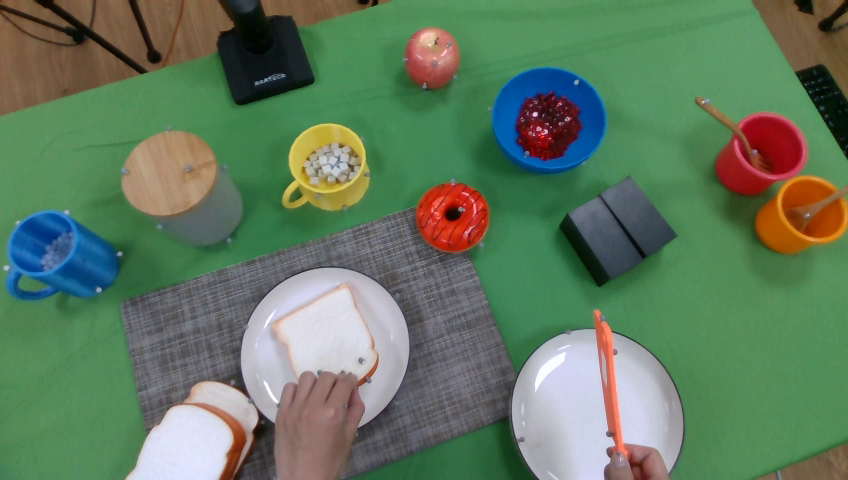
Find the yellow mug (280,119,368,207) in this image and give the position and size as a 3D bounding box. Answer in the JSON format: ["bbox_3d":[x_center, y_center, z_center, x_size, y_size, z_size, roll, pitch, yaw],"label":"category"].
[{"bbox_3d":[-0.139,-0.093,0.810,0.131,0.064,0.099,-42,78,-11],"label":"yellow mug"}]

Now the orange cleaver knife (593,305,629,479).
[{"bbox_3d":[0.191,0.172,0.617,0.012,0.077,0.211,-7,89,6],"label":"orange cleaver knife"}]

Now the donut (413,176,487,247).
[{"bbox_3d":[0.035,-0.038,0.802,0.099,0.048,0.098,0,73,-1],"label":"donut"}]

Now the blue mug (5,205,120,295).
[{"bbox_3d":[-0.455,0.025,0.749,0.082,0.106,0.116,43,77,12],"label":"blue mug"}]

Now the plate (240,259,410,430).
[{"bbox_3d":[-0.120,0.128,0.753,0.208,0.039,0.206,0,73,-1],"label":"plate"}]

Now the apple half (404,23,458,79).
[{"bbox_3d":[0.017,-0.272,0.863,0.080,0.075,0.053,35,70,14],"label":"apple half"}]

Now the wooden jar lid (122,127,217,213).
[{"bbox_3d":[-0.294,-0.080,0.707,0.108,0.021,0.107,0,71,1],"label":"wooden jar lid"}]

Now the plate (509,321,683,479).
[{"bbox_3d":[0.205,0.205,0.736,0.209,0.038,0.208,0,73,0],"label":"plate"}]

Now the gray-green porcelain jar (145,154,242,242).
[{"bbox_3d":[-0.294,-0.060,0.767,0.106,0.127,0.105,0,72,0],"label":"gray-green porcelain jar"}]

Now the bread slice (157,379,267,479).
[{"bbox_3d":[-0.241,0.233,0.718,0.105,0.019,0.131,15,72,-4],"label":"bread slice"}]

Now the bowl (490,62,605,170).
[{"bbox_3d":[0.161,-0.155,0.826,0.151,0.077,0.150,0,73,0],"label":"bowl"}]

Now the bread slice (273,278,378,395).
[{"bbox_3d":[-0.113,0.121,0.738,0.107,0.018,0.133,-34,55,-5],"label":"bread slice"}]

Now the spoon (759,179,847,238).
[{"bbox_3d":[0.519,-0.062,0.764,0.022,0.194,0.041,-6,63,-50],"label":"spoon"}]

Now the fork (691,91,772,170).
[{"bbox_3d":[0.404,-0.141,0.787,0.209,0.018,0.028,26,67,-36],"label":"fork"}]

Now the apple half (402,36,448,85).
[{"bbox_3d":[-0.006,-0.242,0.852,0.081,0.082,0.032,35,71,10],"label":"apple half"}]
